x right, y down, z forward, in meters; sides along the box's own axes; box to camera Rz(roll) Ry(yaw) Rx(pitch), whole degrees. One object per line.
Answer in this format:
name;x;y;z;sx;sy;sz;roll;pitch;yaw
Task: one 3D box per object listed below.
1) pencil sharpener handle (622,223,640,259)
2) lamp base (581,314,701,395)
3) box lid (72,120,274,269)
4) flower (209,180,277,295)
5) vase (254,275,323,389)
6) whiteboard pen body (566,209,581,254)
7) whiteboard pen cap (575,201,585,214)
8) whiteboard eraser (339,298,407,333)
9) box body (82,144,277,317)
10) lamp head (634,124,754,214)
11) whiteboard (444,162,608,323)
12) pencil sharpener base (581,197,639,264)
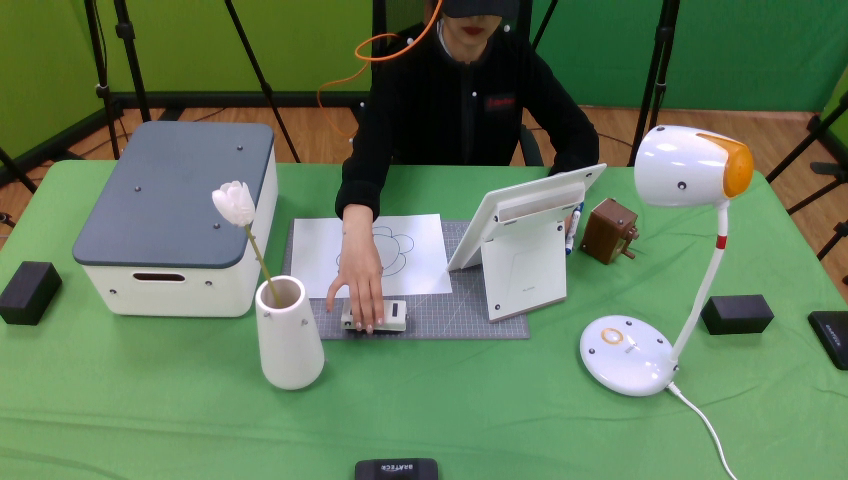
pencil sharpener handle;0.397;0.003;1.146;0.030;0.068;0.036;37;46;27
lamp base;0.361;0.145;0.973;0.178;0.181;0.160;34;53;23
box lid;-0.417;-0.094;1.056;0.263;0.015;0.369;1;47;-3
flower;-0.217;0.075;0.872;0.044;0.363;0.038;-28;36;-19
vase;-0.209;0.143;0.921;0.098;0.201;0.097;1;46;-1
whiteboard pen body;0.307;-0.025;1.242;0.017;0.017;0.140;16;50;11
whiteboard pen cap;0.327;-0.069;1.278;0.018;0.018;0.033;17;51;12
whiteboard eraser;-0.087;0.131;1.045;0.113;0.042;0.055;3;46;-1
box body;-0.422;-0.041;1.108;0.254;0.161;0.361;2;46;-3
lamp head;0.351;-0.089;0.776;0.112;0.113;0.122;-30;30;-28
whiteboard;0.186;0.025;1.029;0.217;0.306;0.143;-14;68;-17
pencil sharpener base;0.362;-0.017;1.179;0.076;0.107;0.061;37;54;27
